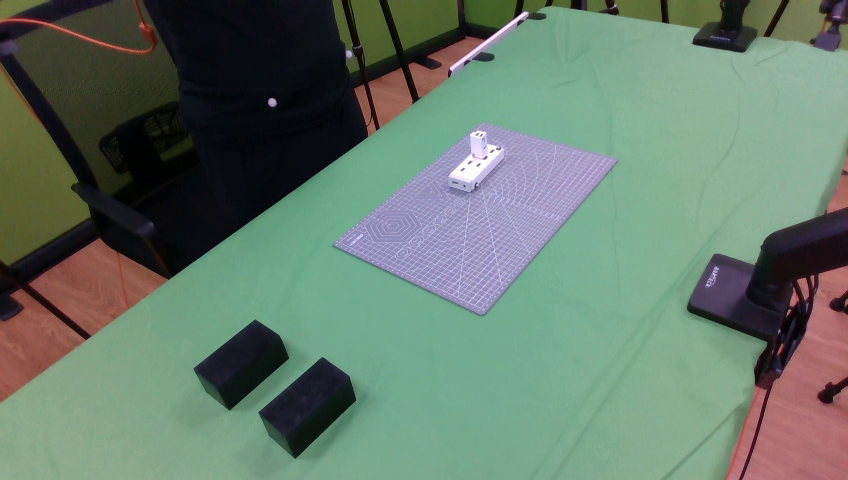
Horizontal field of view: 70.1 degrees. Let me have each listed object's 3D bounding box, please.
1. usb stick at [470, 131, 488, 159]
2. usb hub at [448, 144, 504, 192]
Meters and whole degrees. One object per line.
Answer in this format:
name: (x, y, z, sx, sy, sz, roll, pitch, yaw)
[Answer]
usb stick: (0.100, -0.166, 1.100, 0.027, 0.059, 0.021, 18, 46, 25)
usb hub: (0.097, -0.133, 1.105, 0.049, 0.025, 0.125, 20, 48, 28)
